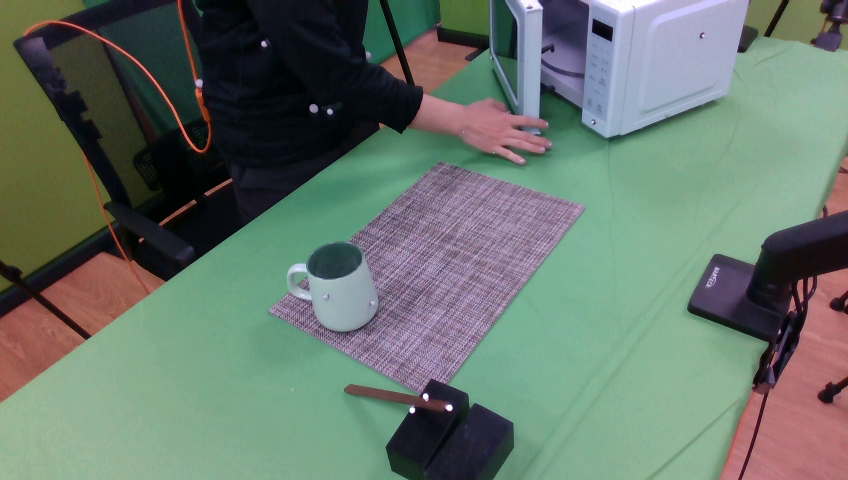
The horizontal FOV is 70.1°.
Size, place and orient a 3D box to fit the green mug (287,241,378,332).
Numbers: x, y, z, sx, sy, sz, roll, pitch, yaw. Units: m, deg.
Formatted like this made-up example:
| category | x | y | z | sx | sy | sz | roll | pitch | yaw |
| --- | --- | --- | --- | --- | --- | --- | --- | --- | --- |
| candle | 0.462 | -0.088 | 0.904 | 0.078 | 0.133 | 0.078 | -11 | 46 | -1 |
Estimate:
| category | x | y | z | sx | sy | sz | roll | pitch | yaw |
| --- | --- | --- | --- | --- | --- | --- | --- | --- | --- |
| green mug | -0.131 | 0.065 | 0.843 | 0.125 | 0.105 | 0.092 | 3 | 42 | 12 |

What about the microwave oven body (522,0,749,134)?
| category | x | y | z | sx | sy | sz | roll | pitch | yaw |
| --- | --- | --- | --- | --- | --- | --- | --- | --- | --- |
| microwave oven body | 0.382 | -0.444 | 1.246 | 0.327 | 0.261 | 0.437 | -22 | 42 | -16 |

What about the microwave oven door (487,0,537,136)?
| category | x | y | z | sx | sy | sz | roll | pitch | yaw |
| --- | --- | --- | --- | --- | --- | --- | --- | --- | --- |
| microwave oven door | 0.175 | -0.405 | 1.222 | 0.039 | 0.245 | 0.353 | -7 | 41 | -1 |

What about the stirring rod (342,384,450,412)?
| category | x | y | z | sx | sy | sz | roll | pitch | yaw |
| --- | --- | --- | --- | --- | --- | --- | --- | --- | --- |
| stirring rod | -0.038 | 0.186 | 0.714 | 0.175 | 0.006 | 0.014 | -3 | 22 | 43 |

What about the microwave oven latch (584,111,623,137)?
| category | x | y | z | sx | sy | sz | roll | pitch | yaw |
| --- | --- | --- | --- | --- | --- | --- | --- | --- | --- |
| microwave oven latch | 0.337 | -0.222 | 1.142 | 0.030 | 0.029 | 0.078 | -21 | 42 | -14 |
